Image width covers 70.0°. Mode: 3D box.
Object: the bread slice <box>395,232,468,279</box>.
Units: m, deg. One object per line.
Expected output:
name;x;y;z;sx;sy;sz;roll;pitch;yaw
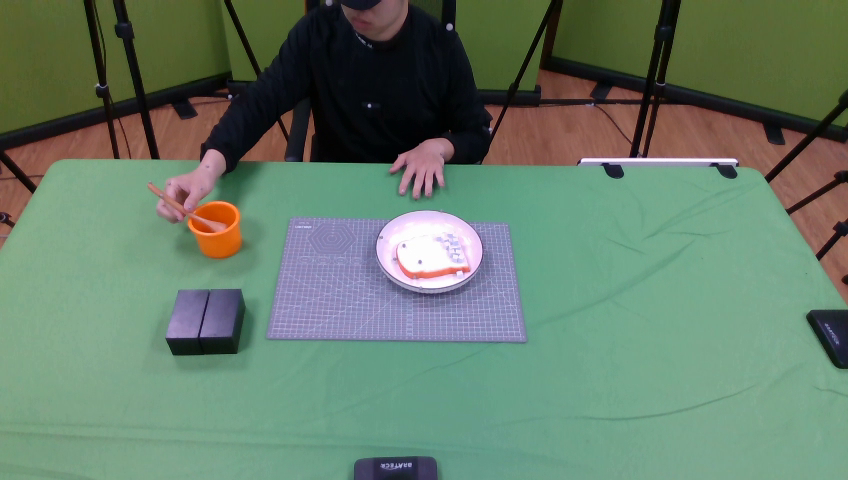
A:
bread slice;0.011;0.030;1.158;0.132;0.019;0.104;-8;47;-14

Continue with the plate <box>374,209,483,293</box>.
plate;0.009;0.024;1.160;0.209;0.038;0.208;2;46;-2

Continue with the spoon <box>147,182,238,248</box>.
spoon;-0.421;-0.045;1.113;0.195;0.021;0.041;35;40;-28
